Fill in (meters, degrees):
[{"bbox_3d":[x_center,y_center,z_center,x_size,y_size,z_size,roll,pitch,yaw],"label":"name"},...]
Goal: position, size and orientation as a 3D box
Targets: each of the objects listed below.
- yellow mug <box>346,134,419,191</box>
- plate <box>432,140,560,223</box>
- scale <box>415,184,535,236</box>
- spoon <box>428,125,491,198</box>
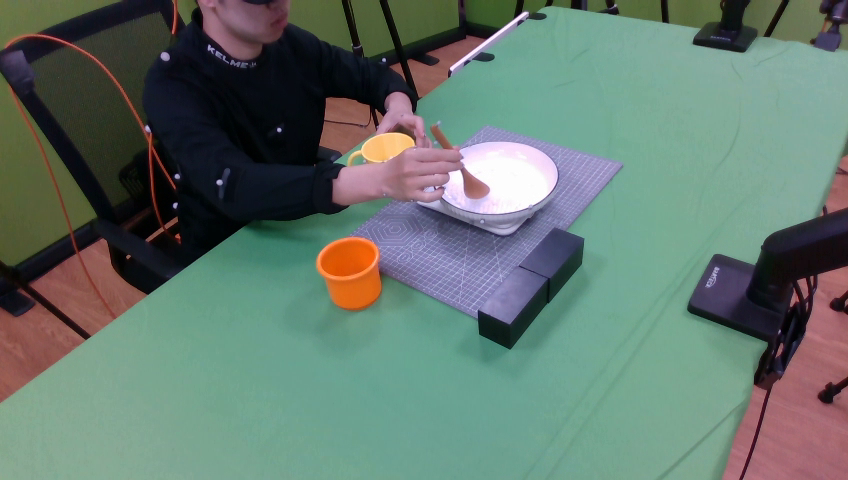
[{"bbox_3d":[-0.079,-0.142,1.115,0.131,0.064,0.099,-7,39,3],"label":"yellow mug"},{"bbox_3d":[0.118,-0.094,0.999,0.209,0.038,0.208,-5,41,4],"label":"plate"},{"bbox_3d":[0.099,-0.079,1.035,0.199,0.032,0.149,23,49,31],"label":"scale"},{"bbox_3d":[0.051,-0.112,0.899,0.041,0.195,0.021,-18,53,21],"label":"spoon"}]
